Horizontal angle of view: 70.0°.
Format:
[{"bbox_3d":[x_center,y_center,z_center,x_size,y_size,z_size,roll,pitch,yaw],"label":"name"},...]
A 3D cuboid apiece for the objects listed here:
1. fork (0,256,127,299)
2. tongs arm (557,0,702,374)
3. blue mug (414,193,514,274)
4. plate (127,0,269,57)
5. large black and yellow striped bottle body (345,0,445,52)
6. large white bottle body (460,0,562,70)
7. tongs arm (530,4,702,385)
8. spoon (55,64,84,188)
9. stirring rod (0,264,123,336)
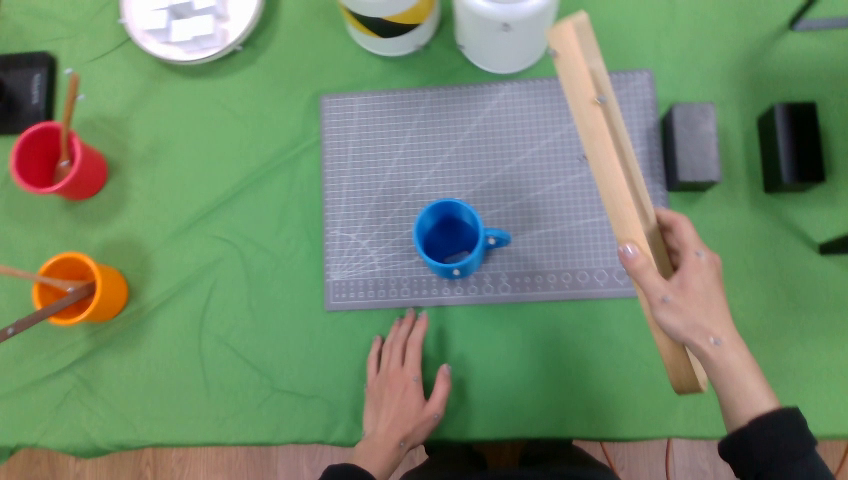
[{"bbox_3d":[-0.480,0.038,0.753,0.209,0.018,0.028,22,79,-36],"label":"fork"},{"bbox_3d":[0.195,-0.037,0.579,0.027,0.028,0.389,-18,105,26],"label":"tongs arm"},{"bbox_3d":[0.051,-0.006,0.737,0.116,0.106,0.082,-2,80,4],"label":"blue mug"},{"bbox_3d":[-0.314,-0.354,0.860,0.207,0.039,0.207,-1,81,5],"label":"plate"},{"bbox_3d":[-0.044,-0.337,0.761,0.130,0.185,0.130,-1,80,5],"label":"large black and yellow striped bottle body"},{"bbox_3d":[0.108,-0.307,0.744,0.130,0.185,0.130,-1,80,5],"label":"large white bottle body"},{"bbox_3d":[0.182,-0.025,0.553,0.026,0.050,0.386,-17,104,30],"label":"tongs arm"},{"bbox_3d":[-0.457,-0.143,0.784,0.041,0.021,0.194,44,130,13],"label":"spoon"},{"bbox_3d":[-0.455,0.075,0.751,0.014,0.006,0.176,44,44,7],"label":"stirring rod"}]
